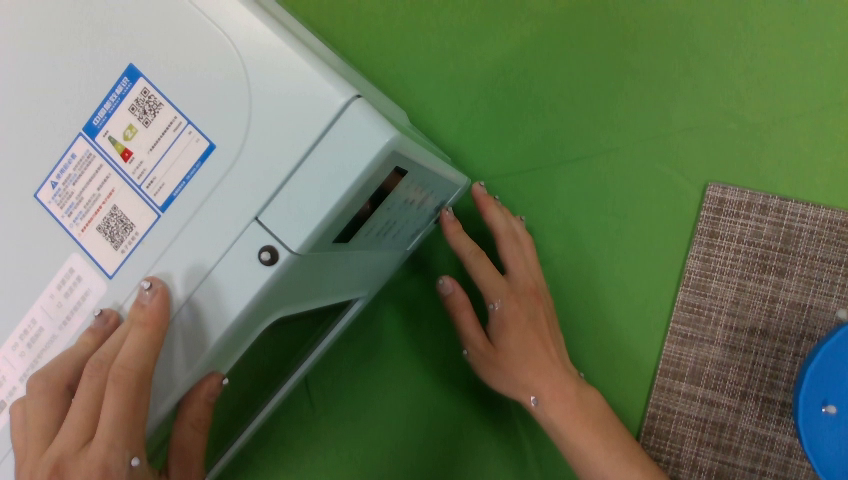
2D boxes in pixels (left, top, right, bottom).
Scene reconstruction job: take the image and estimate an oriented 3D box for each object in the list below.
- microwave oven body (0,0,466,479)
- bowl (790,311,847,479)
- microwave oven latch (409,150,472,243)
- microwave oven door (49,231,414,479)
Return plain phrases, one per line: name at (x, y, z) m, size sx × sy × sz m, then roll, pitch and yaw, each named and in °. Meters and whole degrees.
microwave oven body at (-0.239, -0.002, 0.461) m, size 0.325 × 0.261 × 0.442 m, roll 43°, pitch 100°, yaw 9°
bowl at (0.330, 0.111, 0.426) m, size 0.151 × 0.077 × 0.151 m, roll 0°, pitch 90°, yaw 13°
microwave oven latch at (0.006, -0.035, 0.504) m, size 0.030 × 0.029 × 0.079 m, roll 44°, pitch 100°, yaw 9°
microwave oven door at (-0.162, 0.127, 0.441) m, size 0.039 × 0.244 × 0.356 m, roll 42°, pitch 99°, yaw 10°
